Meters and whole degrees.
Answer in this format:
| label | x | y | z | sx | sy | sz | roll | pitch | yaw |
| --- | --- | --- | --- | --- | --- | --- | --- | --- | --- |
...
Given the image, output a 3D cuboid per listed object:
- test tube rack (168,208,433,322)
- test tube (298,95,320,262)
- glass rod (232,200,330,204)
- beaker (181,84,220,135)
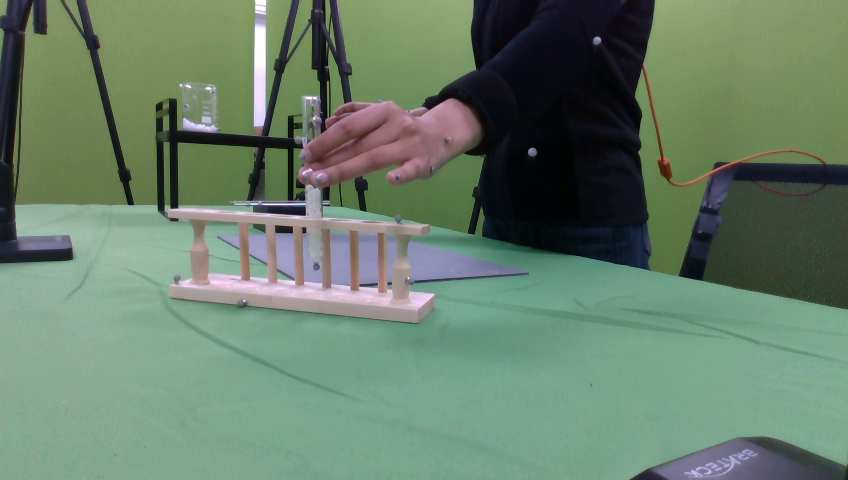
| label | x | y | z | sx | sy | sz | roll | pitch | yaw |
| --- | --- | --- | --- | --- | --- | --- | --- | --- | --- |
| test tube rack | -0.115 | 0.017 | 0.574 | 0.242 | 0.085 | 0.067 | 4 | 8 | 13 |
| test tube | -0.102 | -0.053 | 0.540 | 0.017 | 0.150 | 0.017 | 1 | 14 | 0 |
| glass rod | -0.266 | -0.071 | 1.146 | 0.201 | 0.008 | 0.008 | -4 | 10 | -40 |
| beaker | -0.475 | -0.275 | 1.281 | 0.073 | 0.100 | 0.084 | 6 | 9 | 35 |
